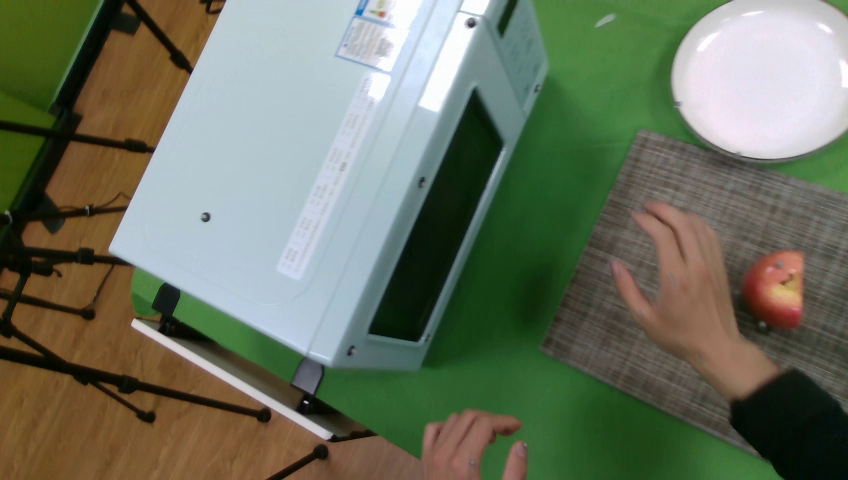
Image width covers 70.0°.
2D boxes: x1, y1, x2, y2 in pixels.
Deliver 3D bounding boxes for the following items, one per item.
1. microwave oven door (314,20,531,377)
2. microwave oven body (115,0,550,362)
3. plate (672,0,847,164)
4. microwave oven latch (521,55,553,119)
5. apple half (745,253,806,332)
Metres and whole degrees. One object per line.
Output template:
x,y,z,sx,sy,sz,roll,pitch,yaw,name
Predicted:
0.015,-0.020,0.664,0.039,0.245,0.355,22,86,23,microwave oven door
-0.092,-0.108,0.726,0.324,0.262,0.441,22,87,21,microwave oven body
0.397,-0.183,0.700,0.207,0.039,0.206,-4,77,18,plate
0.138,-0.197,0.771,0.030,0.030,0.079,23,87,21,microwave oven latch
0.366,0.054,0.634,0.053,0.075,0.080,2,82,25,apple half
